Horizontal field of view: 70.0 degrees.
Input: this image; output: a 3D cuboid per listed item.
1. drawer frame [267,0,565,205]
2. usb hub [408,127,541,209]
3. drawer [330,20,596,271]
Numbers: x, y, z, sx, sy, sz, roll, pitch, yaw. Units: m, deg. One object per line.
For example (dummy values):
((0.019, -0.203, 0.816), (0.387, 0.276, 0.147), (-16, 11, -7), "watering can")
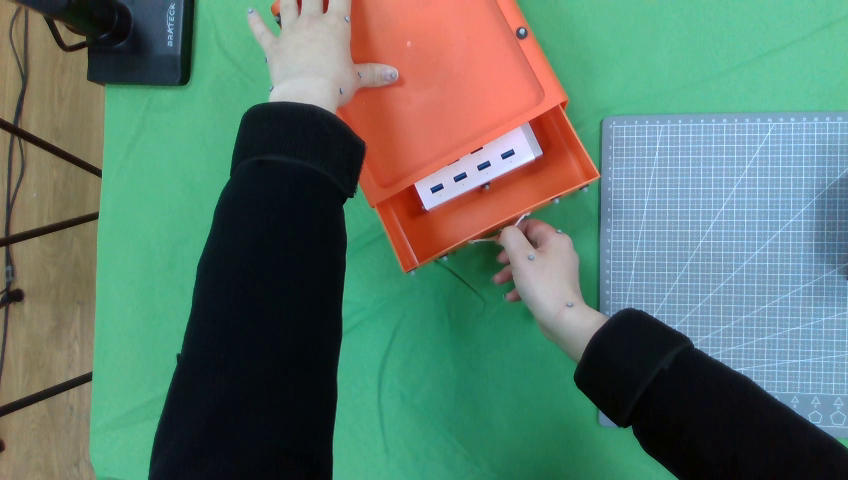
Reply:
((-0.007, -0.168, 0.570), (0.201, 0.083, 0.213), (-28, 86, 8), "drawer frame")
((0.045, -0.069, 0.583), (0.125, 0.025, 0.049), (-14, 90, 14), "usb hub")
((0.024, -0.104, 0.569), (0.194, 0.073, 0.211), (-26, 87, 8), "drawer")
